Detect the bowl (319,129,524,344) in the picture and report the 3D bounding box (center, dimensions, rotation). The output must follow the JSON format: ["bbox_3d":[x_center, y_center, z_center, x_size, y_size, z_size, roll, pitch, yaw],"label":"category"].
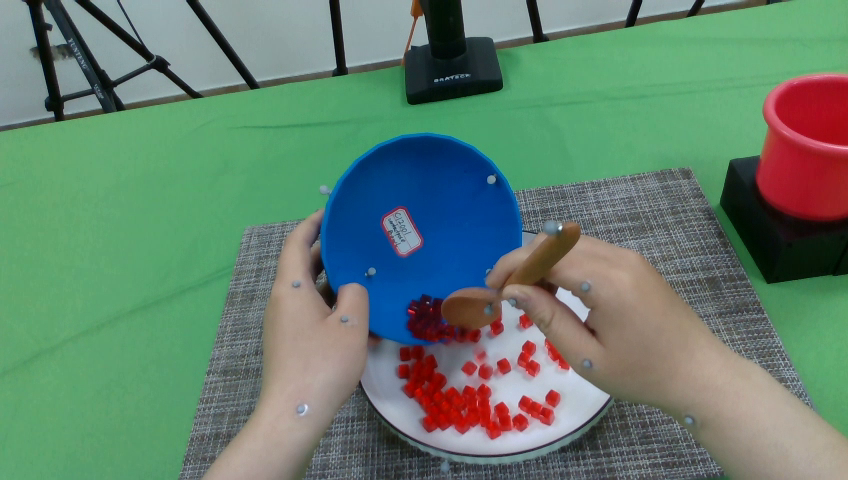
[{"bbox_3d":[-0.010,-0.004,0.457,0.151,0.152,0.076,-27,13,-15],"label":"bowl"}]

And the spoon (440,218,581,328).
[{"bbox_3d":[0.047,0.026,0.348,0.042,0.194,0.021,15,72,-8],"label":"spoon"}]

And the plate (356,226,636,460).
[{"bbox_3d":[0.053,0.073,0.466,0.207,0.039,0.205,-6,46,7],"label":"plate"}]
